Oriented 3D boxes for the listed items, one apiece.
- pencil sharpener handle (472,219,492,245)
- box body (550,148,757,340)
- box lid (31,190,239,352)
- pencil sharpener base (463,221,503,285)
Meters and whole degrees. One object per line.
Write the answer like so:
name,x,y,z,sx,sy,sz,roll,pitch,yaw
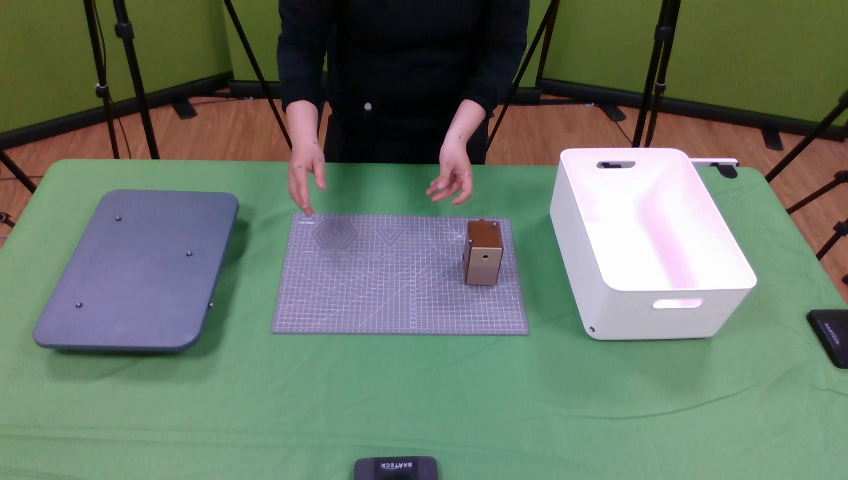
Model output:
pencil sharpener handle,0.104,-0.021,1.145,0.036,0.068,0.030,7,45,-8
box body,0.395,0.003,1.127,0.254,0.161,0.361,-1,46,-5
box lid,-0.491,0.040,1.070,0.263,0.015,0.369,1,46,-3
pencil sharpener base,0.107,0.024,1.119,0.061,0.107,0.076,1,45,-2
